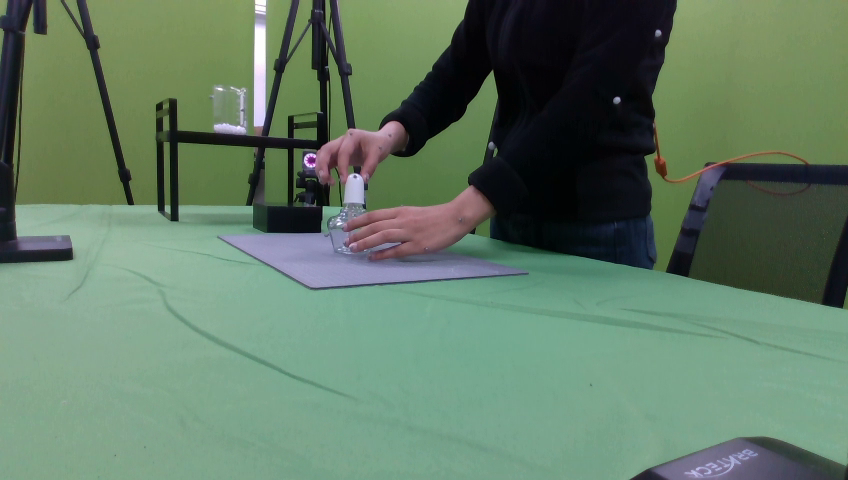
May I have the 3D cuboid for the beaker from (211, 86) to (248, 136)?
[{"bbox_3d":[-0.413,-0.274,1.297,0.074,0.100,0.083,-5,11,-44],"label":"beaker"}]

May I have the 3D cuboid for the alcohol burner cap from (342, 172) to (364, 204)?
[{"bbox_3d":[-0.103,-0.077,0.893,0.034,0.048,0.034,5,6,0],"label":"alcohol burner cap"}]

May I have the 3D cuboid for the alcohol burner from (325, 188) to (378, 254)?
[{"bbox_3d":[-0.107,-0.040,0.895,0.078,0.119,0.078,2,5,0],"label":"alcohol burner"}]
